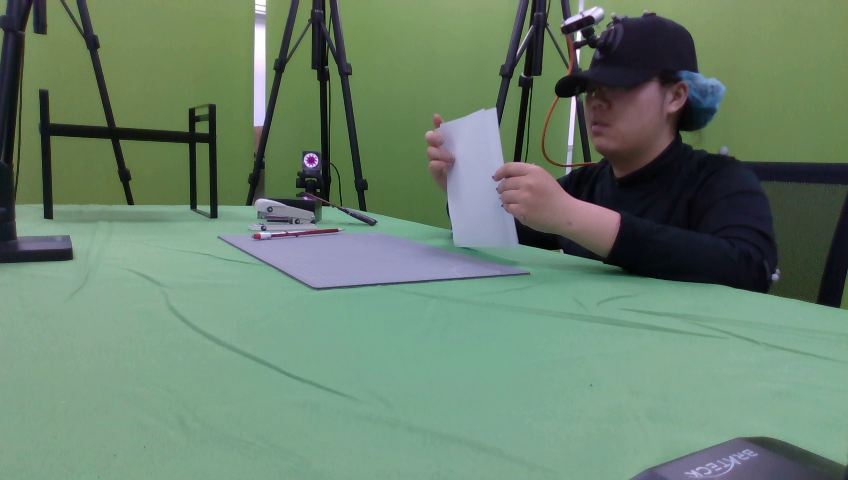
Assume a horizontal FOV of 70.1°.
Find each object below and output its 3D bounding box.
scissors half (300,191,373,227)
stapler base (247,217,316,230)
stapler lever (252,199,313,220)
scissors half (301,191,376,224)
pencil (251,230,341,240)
[{"bbox_3d":[-0.191,-0.069,1.314,0.175,0.013,0.040,26,16,7],"label":"scissors half"},{"bbox_3d":[-0.276,-0.033,1.172,0.131,0.024,0.041,0,10,-37],"label":"stapler base"},{"bbox_3d":[-0.273,-0.058,1.170,0.119,0.040,0.026,0,10,-37],"label":"stapler lever"},{"bbox_3d":[-0.189,-0.073,1.333,0.175,0.013,0.040,22,11,-10],"label":"scissors half"},{"bbox_3d":[-0.215,-0.011,1.049,0.012,0.012,0.195,9,9,39],"label":"pencil"}]
